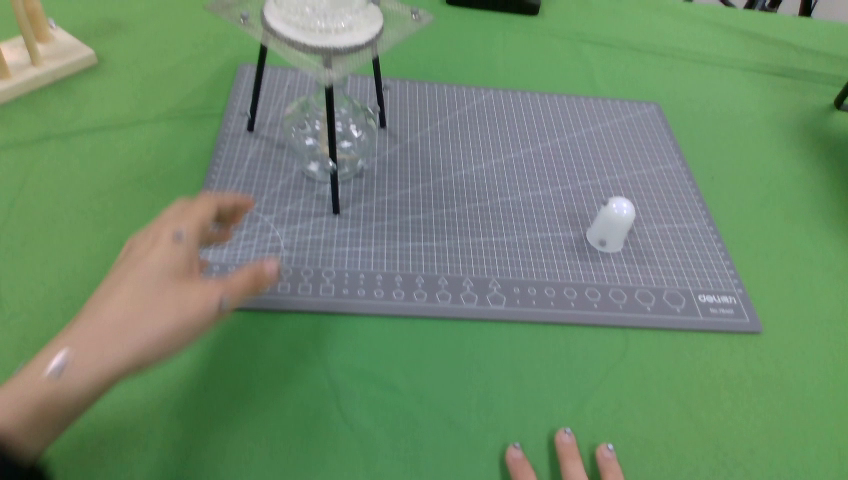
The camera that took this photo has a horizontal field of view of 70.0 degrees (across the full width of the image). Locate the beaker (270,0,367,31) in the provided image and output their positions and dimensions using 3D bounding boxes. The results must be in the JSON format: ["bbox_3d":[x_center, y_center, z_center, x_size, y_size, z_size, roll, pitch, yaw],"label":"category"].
[{"bbox_3d":[-0.074,-0.202,0.410,0.084,0.101,0.073,-34,64,-31],"label":"beaker"}]

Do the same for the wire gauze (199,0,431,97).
[{"bbox_3d":[-0.077,-0.165,0.444,0.124,0.011,0.121,36,56,15],"label":"wire gauze"}]

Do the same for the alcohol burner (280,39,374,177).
[{"bbox_3d":[-0.079,-0.110,0.496,0.078,0.120,0.077,6,47,-6],"label":"alcohol burner"}]

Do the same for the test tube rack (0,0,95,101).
[{"bbox_3d":[-0.411,-0.151,0.495,0.066,0.086,0.242,34,52,18],"label":"test tube rack"}]

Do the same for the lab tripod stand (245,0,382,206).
[{"bbox_3d":[-0.083,-0.123,0.493,0.149,0.132,0.147,6,49,-7],"label":"lab tripod stand"}]

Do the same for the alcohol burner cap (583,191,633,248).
[{"bbox_3d":[0.156,-0.019,0.507,0.034,0.048,0.033,5,48,-5],"label":"alcohol burner cap"}]
